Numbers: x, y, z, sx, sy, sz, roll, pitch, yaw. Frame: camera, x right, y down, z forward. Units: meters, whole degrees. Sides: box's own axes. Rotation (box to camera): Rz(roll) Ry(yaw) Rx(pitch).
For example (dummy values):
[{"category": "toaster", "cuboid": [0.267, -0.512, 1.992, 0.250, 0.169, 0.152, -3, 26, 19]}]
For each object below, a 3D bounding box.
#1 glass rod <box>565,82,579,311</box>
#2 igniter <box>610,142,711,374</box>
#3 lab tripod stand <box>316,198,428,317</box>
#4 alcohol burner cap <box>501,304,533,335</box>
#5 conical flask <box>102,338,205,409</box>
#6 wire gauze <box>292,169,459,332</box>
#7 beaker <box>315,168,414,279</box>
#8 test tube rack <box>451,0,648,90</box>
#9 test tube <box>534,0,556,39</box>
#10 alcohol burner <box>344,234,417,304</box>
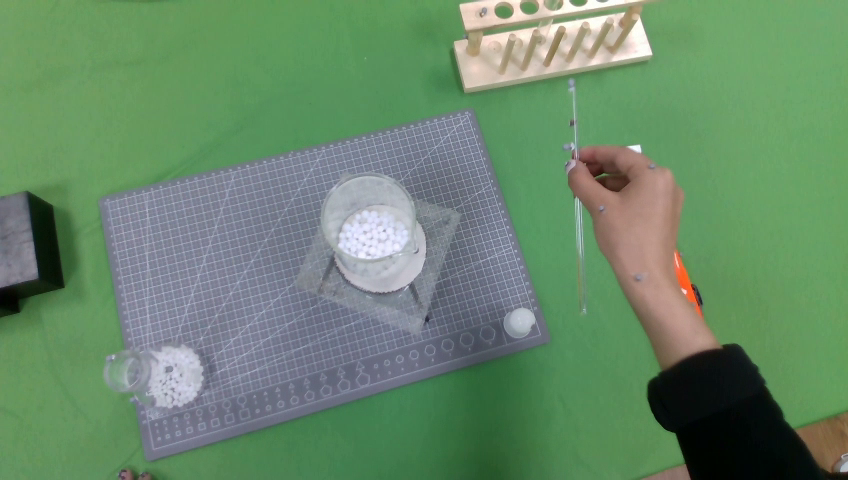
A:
[{"category": "glass rod", "cuboid": [0.129, -0.034, 0.525, 0.008, 0.008, 0.200, -6, 101, -5]}, {"category": "igniter", "cuboid": [0.273, 0.016, 0.701, 0.057, 0.025, 0.275, -11, 77, -16]}, {"category": "lab tripod stand", "cuboid": [-0.049, 0.022, 0.625, 0.148, 0.132, 0.147, 0, 78, -2]}, {"category": "alcohol burner cap", "cuboid": [0.104, 0.085, 0.664, 0.034, 0.048, 0.033, 1, 75, -3]}, {"category": "conical flask", "cuboid": [-0.268, 0.128, 0.593, 0.075, 0.122, 0.075, 1, 75, -3]}, {"category": "wire gauze", "cuboid": [-0.043, 0.007, 0.561, 0.125, 0.011, 0.121, 21, 79, 1]}, {"category": "beaker", "cuboid": [-0.044, -0.007, 0.515, 0.084, 0.100, 0.074, 34, 77, 6]}, {"category": "test tube rack", "cuboid": [0.160, -0.252, 0.731, 0.242, 0.085, 0.066, -11, 76, -5]}, {"category": "test tube", "cuboid": [0.143, -0.275, 0.685, 0.017, 0.151, 0.017, 0, 76, 0]}, {"category": "alcohol burner", "cuboid": [-0.046, 0.027, 0.634, 0.078, 0.119, 0.077, 0, 77, -1]}]
